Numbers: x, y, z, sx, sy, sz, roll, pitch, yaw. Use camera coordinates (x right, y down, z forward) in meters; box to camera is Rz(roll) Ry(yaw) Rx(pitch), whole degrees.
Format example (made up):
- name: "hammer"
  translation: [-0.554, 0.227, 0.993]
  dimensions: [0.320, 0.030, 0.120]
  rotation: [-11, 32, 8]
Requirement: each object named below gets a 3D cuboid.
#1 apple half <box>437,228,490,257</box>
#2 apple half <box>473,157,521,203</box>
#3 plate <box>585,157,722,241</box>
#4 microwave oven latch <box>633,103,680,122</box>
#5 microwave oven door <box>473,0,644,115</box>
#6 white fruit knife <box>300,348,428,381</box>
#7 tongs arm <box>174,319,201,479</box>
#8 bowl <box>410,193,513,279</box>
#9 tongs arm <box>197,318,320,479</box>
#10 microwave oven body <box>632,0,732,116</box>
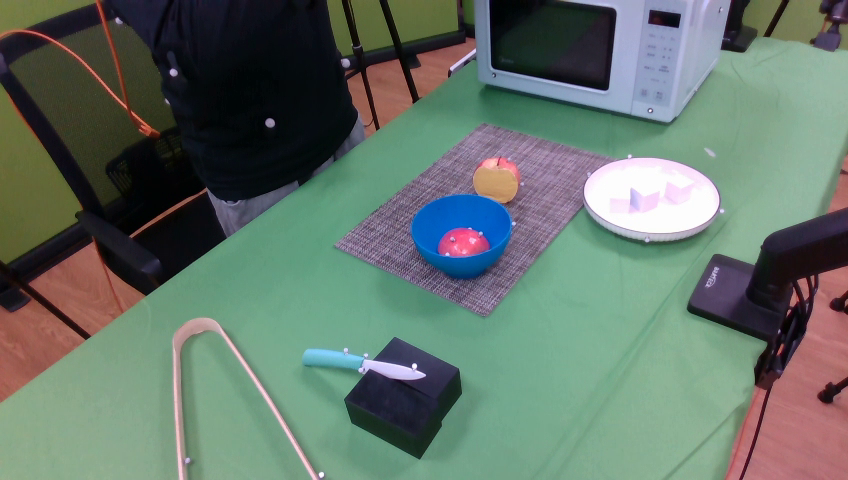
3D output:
- name: "apple half"
  translation: [0.056, 0.002, 0.901]
  dimensions: [0.081, 0.033, 0.081]
  rotation: [-3, 41, 3]
- name: "apple half"
  translation: [0.128, -0.107, 1.030]
  dimensions: [0.080, 0.075, 0.053]
  rotation: [4, 38, 19]
- name: "plate"
  translation: [0.367, -0.063, 0.979]
  dimensions: [0.207, 0.039, 0.206]
  rotation: [-4, 40, 4]
- name: "microwave oven latch"
  translation: [0.444, -0.249, 1.157]
  dimensions: [0.078, 0.029, 0.030]
  rotation: [21, 48, 30]
- name: "microwave oven door"
  translation: [0.257, -0.396, 1.199]
  dimensions: [0.353, 0.245, 0.039]
  rotation: [21, 48, 29]
- name: "white fruit knife"
  translation: [-0.079, 0.154, 0.748]
  dimensions: [0.206, 0.027, 0.016]
  rotation: [1, 20, 34]
- name: "tongs arm"
  translation: [-0.272, 0.234, 0.723]
  dimensions: [0.051, 0.026, 0.381]
  rotation: [-19, 40, -15]
- name: "bowl"
  translation: [0.058, 0.005, 0.905]
  dimensions: [0.151, 0.077, 0.150]
  rotation: [-4, 40, 4]
- name: "tongs arm"
  translation: [-0.200, 0.207, 0.750]
  dimensions: [0.028, 0.028, 0.384]
  rotation: [-31, 45, -22]
- name: "microwave oven body"
  translation: [0.377, -0.462, 1.267]
  dimensions: [0.438, 0.261, 0.327]
  rotation: [21, 48, 30]
